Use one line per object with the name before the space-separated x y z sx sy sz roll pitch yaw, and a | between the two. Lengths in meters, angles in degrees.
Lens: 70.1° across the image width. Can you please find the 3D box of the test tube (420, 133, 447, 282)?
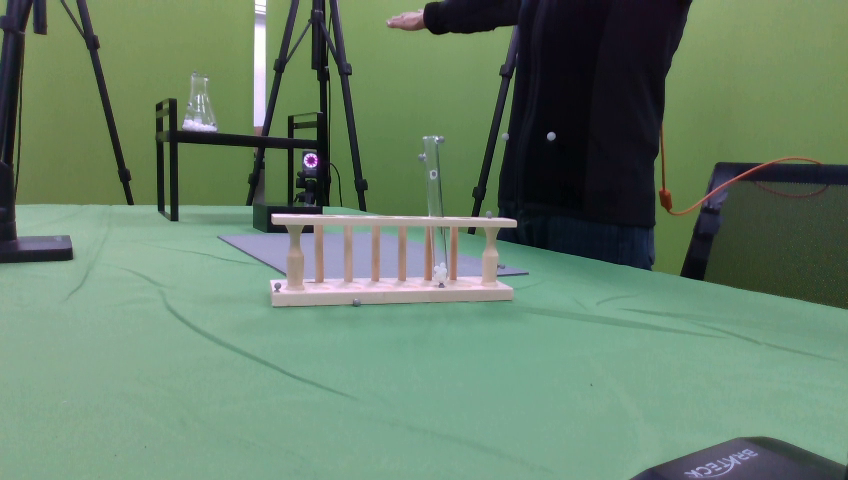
test tube | 0.010 -0.031 0.607 0.017 0.150 0.017 -5 10 1

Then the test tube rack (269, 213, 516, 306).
test tube rack | -0.032 0.015 0.617 0.243 0.085 0.066 0 8 -17

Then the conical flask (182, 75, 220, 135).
conical flask | -0.475 -0.287 1.288 0.075 0.122 0.075 2 7 0
